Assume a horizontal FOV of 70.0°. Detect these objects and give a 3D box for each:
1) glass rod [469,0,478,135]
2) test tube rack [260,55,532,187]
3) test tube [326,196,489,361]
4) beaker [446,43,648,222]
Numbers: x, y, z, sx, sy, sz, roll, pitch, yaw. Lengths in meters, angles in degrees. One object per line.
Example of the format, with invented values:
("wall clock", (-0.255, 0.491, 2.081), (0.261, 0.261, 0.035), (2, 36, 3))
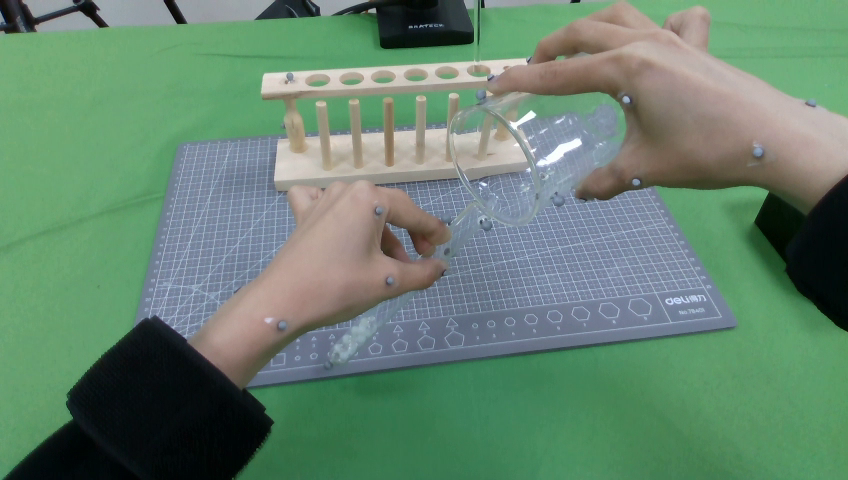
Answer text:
("glass rod", (0.045, -0.184, 0.544), (0.008, 0.201, 0.008), (-1, 39, 2))
("test tube rack", (-0.023, -0.111, 0.565), (0.243, 0.086, 0.066), (-5, 46, -5))
("test tube", (-0.014, 0.028, 0.393), (0.150, 0.017, 0.017), (-46, 47, 17))
("beaker", (0.074, -0.064, 0.356), (0.100, 0.084, 0.073), (-32, 67, -23))
